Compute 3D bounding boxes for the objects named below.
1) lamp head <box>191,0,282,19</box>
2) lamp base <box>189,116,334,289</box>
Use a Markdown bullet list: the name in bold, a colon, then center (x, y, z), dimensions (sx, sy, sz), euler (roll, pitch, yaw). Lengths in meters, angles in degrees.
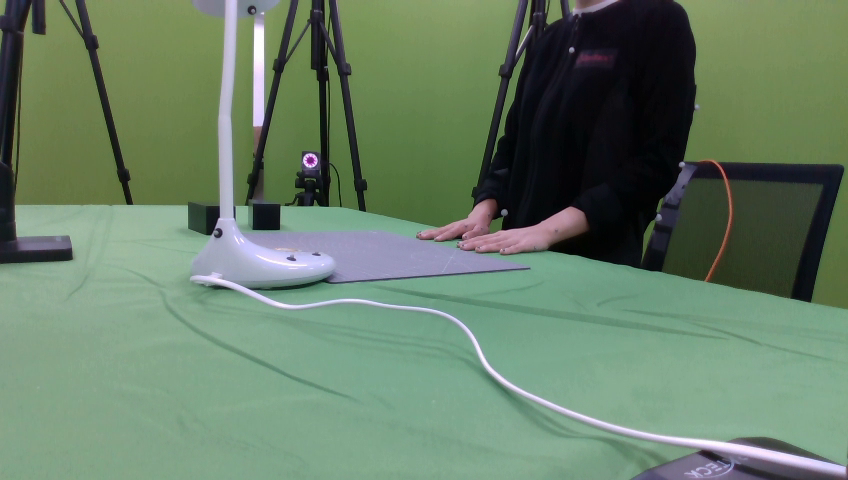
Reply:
- **lamp head**: center (-0.222, -0.330, 0.689), dimensions (0.112, 0.112, 0.123), euler (3, -33, -4)
- **lamp base**: center (-0.185, -0.044, 0.669), dimensions (0.160, 0.180, 0.179), euler (3, 10, 14)
